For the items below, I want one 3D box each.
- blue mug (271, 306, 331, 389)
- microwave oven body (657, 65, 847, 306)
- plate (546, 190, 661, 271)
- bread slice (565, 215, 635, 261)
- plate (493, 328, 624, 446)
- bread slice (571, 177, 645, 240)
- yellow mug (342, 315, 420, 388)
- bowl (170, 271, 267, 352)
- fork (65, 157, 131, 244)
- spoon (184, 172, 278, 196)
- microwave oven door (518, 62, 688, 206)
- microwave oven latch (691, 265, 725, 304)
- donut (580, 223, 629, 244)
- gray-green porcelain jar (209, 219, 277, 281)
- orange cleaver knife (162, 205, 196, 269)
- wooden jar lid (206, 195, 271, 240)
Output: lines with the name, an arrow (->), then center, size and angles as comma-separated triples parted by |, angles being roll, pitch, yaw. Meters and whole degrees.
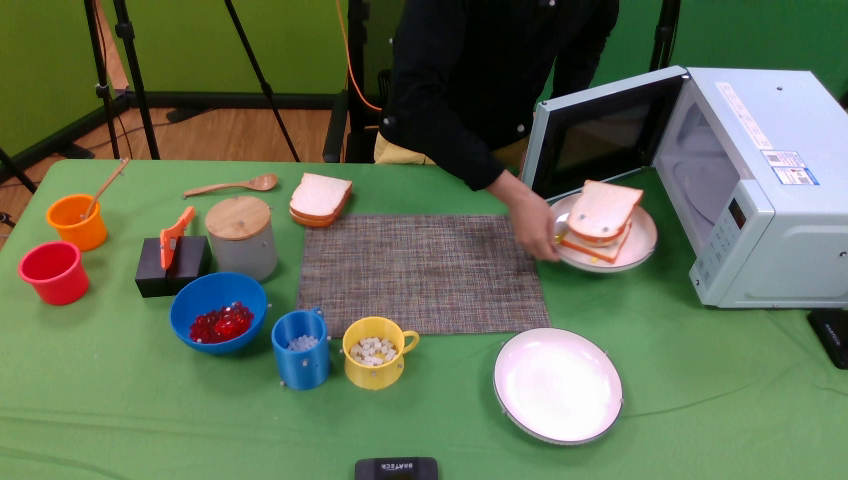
blue mug -> -0.188, 0.163, 0.969 | 0.082, 0.106, 0.116 | 15, 47, 10
microwave oven body -> 0.669, -0.111, 1.176 | 0.326, 0.261, 0.439 | 0, 46, -3
plate -> 0.334, -0.016, 1.142 | 0.209, 0.038, 0.208 | -2, 46, 2
bread slice -> 0.341, -0.021, 1.154 | 0.104, 0.019, 0.131 | 22, 57, 22
plate -> 0.213, 0.236, 0.974 | 0.208, 0.039, 0.206 | 2, 46, -2
bread slice -> 0.330, -0.057, 1.100 | 0.106, 0.018, 0.134 | 13, 57, 29
yellow mug -> -0.067, 0.177, 0.990 | 0.131, 0.064, 0.099 | -16, 50, -19
bowl -> -0.333, 0.132, 1.006 | 0.151, 0.077, 0.150 | 2, 46, -2
fork -> -0.608, -0.074, 1.133 | 0.207, 0.019, 0.028 | -52, 51, 10
spoon -> -0.405, -0.116, 1.275 | 0.194, 0.022, 0.041 | -8, 65, -12
microwave oven door -> 0.368, -0.218, 1.249 | 0.356, 0.245, 0.039 | -19, 51, -21
microwave oven latch -> 0.521, 0.081, 1.116 | 0.030, 0.029, 0.078 | 0, 46, -3
donut -> 0.329, -0.034, 1.123 | 0.099, 0.048, 0.098 | -6, 47, 7
gray-green porcelain jar -> -0.323, 0.007, 1.092 | 0.106, 0.127, 0.105 | 2, 46, -2
orange cleaver knife -> -0.454, -0.010, 1.129 | 0.012, 0.077, 0.210 | -2, 20, -5
wooden jar lid -> -0.319, -0.036, 1.046 | 0.108, 0.021, 0.107 | 1, 44, 0
